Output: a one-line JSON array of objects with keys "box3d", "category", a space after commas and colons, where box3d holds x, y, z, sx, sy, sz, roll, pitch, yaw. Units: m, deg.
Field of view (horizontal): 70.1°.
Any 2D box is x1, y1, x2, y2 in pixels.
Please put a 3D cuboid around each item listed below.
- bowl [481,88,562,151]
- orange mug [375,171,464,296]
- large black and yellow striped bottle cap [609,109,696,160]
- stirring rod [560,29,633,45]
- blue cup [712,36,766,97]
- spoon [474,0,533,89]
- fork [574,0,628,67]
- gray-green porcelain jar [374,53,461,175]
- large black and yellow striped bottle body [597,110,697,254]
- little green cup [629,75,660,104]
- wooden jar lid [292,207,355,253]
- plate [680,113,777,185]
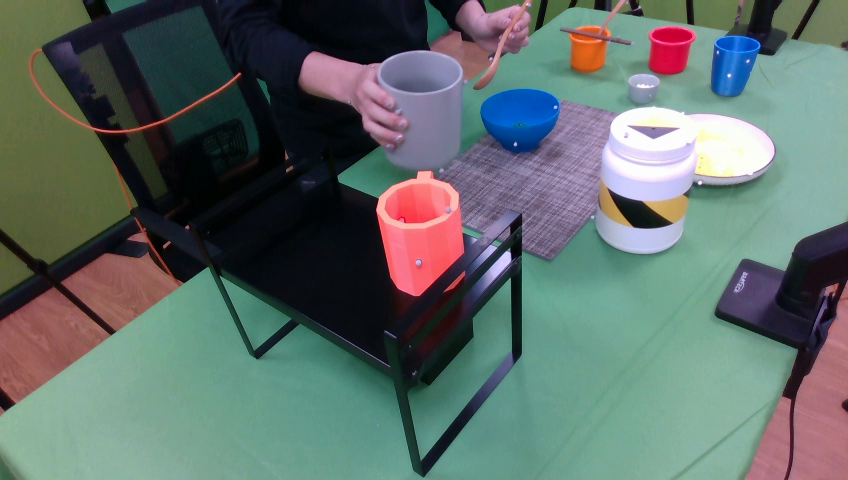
[{"box3d": [0.187, -0.223, 1.161, 0.151, 0.077, 0.150, -4, 40, 4], "category": "bowl"}, {"box3d": [-0.001, -0.016, 0.661, 0.083, 0.101, 0.125, -2, 45, 8], "category": "orange mug"}, {"box3d": [0.319, -0.150, 0.849, 0.115, 0.019, 0.114, -4, 39, 3], "category": "large black and yellow striped bottle cap"}, {"box3d": [0.381, -0.452, 1.345, 0.174, 0.006, 0.014, 26, 50, 33], "category": "stirring rod"}, {"box3d": [0.627, -0.350, 1.227, 0.092, 0.100, 0.092, -4, 39, 4], "category": "blue cup"}, {"box3d": [0.138, -0.337, 1.017, 0.021, 0.042, 0.193, 27, 88, 9], "category": "spoon"}, {"box3d": [0.413, -0.481, 1.377, 0.207, 0.019, 0.028, -56, 43, 12], "category": "fork"}, {"box3d": [-0.006, -0.156, 0.772, 0.106, 0.127, 0.105, 0, 45, 1], "category": "gray-green porcelain jar"}, {"box3d": [0.331, -0.086, 0.904, 0.131, 0.185, 0.130, -5, 41, 4], "category": "large black and yellow striped bottle body"}, {"box3d": [0.457, -0.314, 1.260, 0.061, 0.039, 0.061, -4, 40, 4], "category": "little green cup"}, {"box3d": [-0.169, -0.015, 1.026, 0.108, 0.021, 0.108, -4, 40, 4], "category": "wooden jar lid"}, {"box3d": [0.506, -0.158, 1.073, 0.209, 0.038, 0.208, -4, 40, 4], "category": "plate"}]
